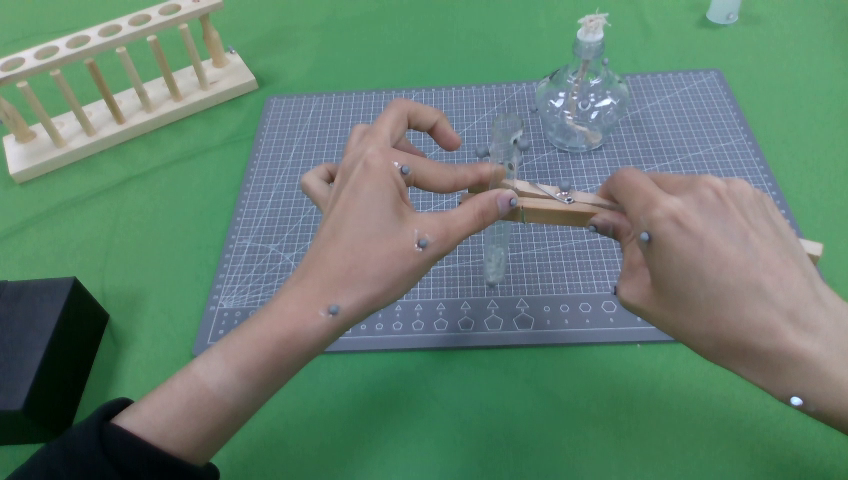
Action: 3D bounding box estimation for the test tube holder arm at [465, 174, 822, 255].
[{"bbox_3d":[0.107,-0.015,0.320,0.177,0.015,0.013,10,63,19],"label":"test tube holder arm"}]

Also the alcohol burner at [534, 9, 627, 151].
[{"bbox_3d":[0.132,-0.134,0.504,0.078,0.120,0.077,-3,49,3],"label":"alcohol burner"}]

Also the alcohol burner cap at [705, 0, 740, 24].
[{"bbox_3d":[0.318,-0.255,0.635,0.034,0.048,0.033,-4,51,5],"label":"alcohol burner cap"}]

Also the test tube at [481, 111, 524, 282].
[{"bbox_3d":[0.044,-0.016,0.352,0.017,0.151,0.017,-1,57,2],"label":"test tube"}]

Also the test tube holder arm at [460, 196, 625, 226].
[{"bbox_3d":[0.064,-0.016,0.331,0.087,0.015,0.010,2,60,15],"label":"test tube holder arm"}]

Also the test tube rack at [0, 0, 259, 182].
[{"bbox_3d":[-0.295,-0.153,0.585,0.242,0.086,0.066,-27,53,-16],"label":"test tube rack"}]
